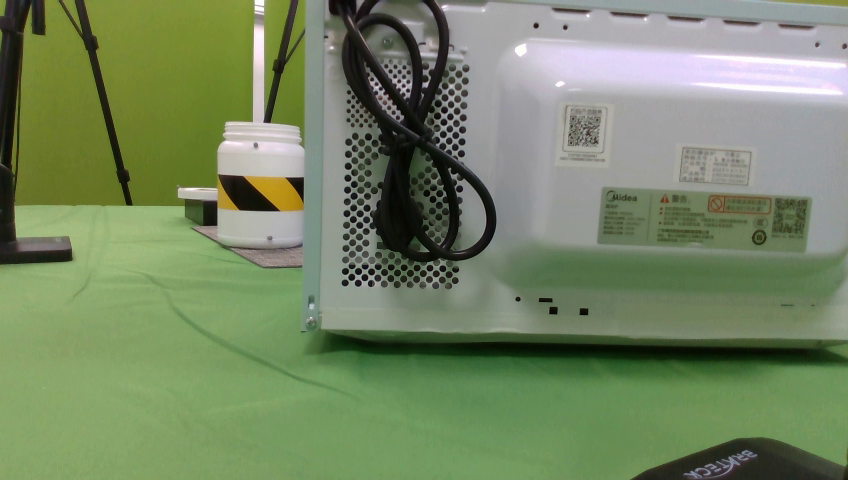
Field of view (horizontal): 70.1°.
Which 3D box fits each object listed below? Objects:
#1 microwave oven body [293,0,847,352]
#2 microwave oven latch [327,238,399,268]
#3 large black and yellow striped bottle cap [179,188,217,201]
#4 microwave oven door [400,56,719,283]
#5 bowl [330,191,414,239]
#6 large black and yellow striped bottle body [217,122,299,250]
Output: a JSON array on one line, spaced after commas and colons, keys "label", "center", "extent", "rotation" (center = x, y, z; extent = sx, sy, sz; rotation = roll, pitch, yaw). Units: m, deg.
[{"label": "microwave oven body", "center": [0.122, -0.055, 0.550], "extent": [0.442, 0.260, 0.325], "rotation": [3, 7, -5]}, {"label": "microwave oven latch", "center": [-0.069, 0.015, 0.694], "extent": [0.079, 0.029, 0.030], "rotation": [3, 7, -3]}, {"label": "large black and yellow striped bottle cap", "center": [-0.434, -0.093, 1.226], "extent": [0.115, 0.019, 0.115], "rotation": [3, 9, 0]}, {"label": "microwave oven door", "center": [0.155, -0.077, 0.698], "extent": [0.356, 0.243, 0.039], "rotation": [2, 8, -5]}, {"label": "bowl", "center": [-0.095, -0.044, 1.096], "extent": [0.151, 0.077, 0.151], "rotation": [3, 8, 0]}, {"label": "large black and yellow striped bottle body", "center": [-0.250, -0.084, 0.931], "extent": [0.131, 0.184, 0.130], "rotation": [2, 7, 0]}]
